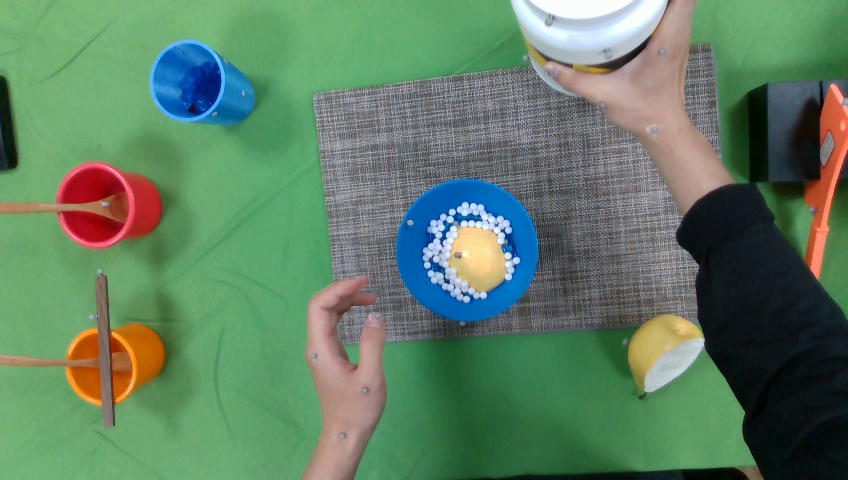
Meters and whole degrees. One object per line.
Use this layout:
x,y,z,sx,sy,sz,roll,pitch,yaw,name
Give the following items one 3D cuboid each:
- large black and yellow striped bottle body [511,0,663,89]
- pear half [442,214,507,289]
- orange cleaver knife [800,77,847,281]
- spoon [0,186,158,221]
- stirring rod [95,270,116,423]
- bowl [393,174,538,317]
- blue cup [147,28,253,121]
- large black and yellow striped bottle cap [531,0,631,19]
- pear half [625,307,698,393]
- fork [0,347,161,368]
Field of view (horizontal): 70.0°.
0.142,-0.219,0.526,0.130,0.185,0.130,-1,87,16,large black and yellow striped bottle body
0.051,0.010,0.659,0.070,0.031,0.088,-31,86,6,pear half
0.404,-0.056,0.620,0.012,0.076,0.213,-3,122,12,orange cleaver knife
-0.409,-0.042,0.688,0.195,0.021,0.041,-3,97,-36,spoon
-0.363,0.122,0.689,0.014,0.006,0.176,-1,95,4,stirring rod
0.047,0.004,0.665,0.151,0.077,0.151,0,94,7,bowl
-0.241,-0.172,0.678,0.092,0.100,0.092,1,94,9,blue cup
0.119,-0.223,0.445,0.114,0.019,0.115,0,89,17,large black and yellow striped bottle cap
0.250,0.122,0.669,0.077,0.055,0.110,-4,126,-24,pear half
-0.414,0.134,0.698,0.209,0.018,0.028,10,107,-38,fork
